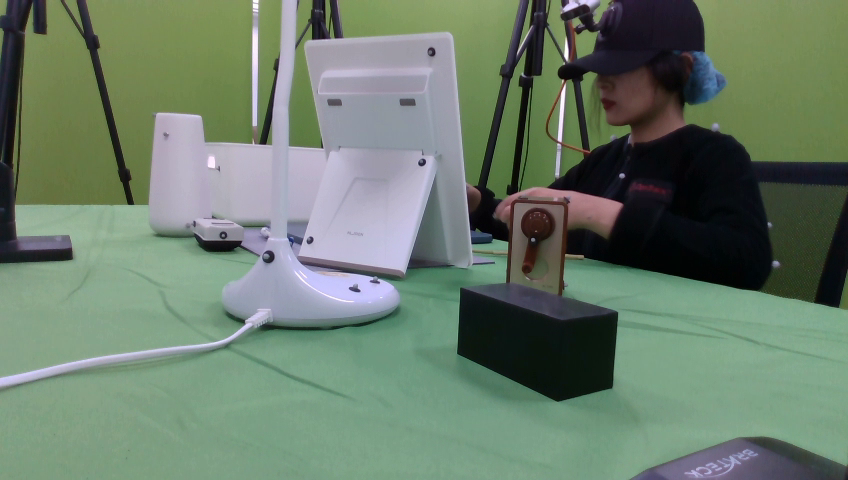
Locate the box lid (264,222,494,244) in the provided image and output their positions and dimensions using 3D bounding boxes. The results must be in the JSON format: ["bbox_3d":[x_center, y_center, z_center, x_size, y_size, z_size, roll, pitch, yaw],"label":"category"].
[{"bbox_3d":[-0.081,-0.014,1.117,0.373,0.015,0.262,-2,9,-32],"label":"box lid"}]

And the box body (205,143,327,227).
[{"bbox_3d":[-0.276,-0.122,1.320,0.366,0.160,0.253,-2,9,-30],"label":"box body"}]

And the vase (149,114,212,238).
[{"bbox_3d":[-0.405,-0.106,1.005,0.098,0.200,0.098,2,6,0],"label":"vase"}]

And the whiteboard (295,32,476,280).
[{"bbox_3d":[-0.076,-0.084,0.747,0.216,0.305,0.144,7,28,29],"label":"whiteboard"}]

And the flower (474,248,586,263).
[{"bbox_3d":[0.072,0.014,0.936,0.362,0.038,0.044,6,1,-2],"label":"flower"}]

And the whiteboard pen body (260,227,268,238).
[{"bbox_3d":[-0.239,-0.005,0.964,0.017,0.017,0.140,-2,9,-28],"label":"whiteboard pen body"}]

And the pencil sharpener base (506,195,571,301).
[{"bbox_3d":[0.126,0.007,0.662,0.061,0.107,0.077,4,8,13],"label":"pencil sharpener base"}]

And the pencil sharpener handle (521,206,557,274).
[{"bbox_3d":[0.112,0.000,0.611,0.036,0.067,0.031,13,10,11],"label":"pencil sharpener handle"}]

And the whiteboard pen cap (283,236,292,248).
[{"bbox_3d":[-0.211,0.003,0.913,0.018,0.018,0.033,-2,6,-28],"label":"whiteboard pen cap"}]

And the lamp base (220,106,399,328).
[{"bbox_3d":[-0.102,-0.023,0.531,0.160,0.180,0.179,4,10,10],"label":"lamp base"}]

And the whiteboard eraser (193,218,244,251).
[{"bbox_3d":[-0.307,-0.010,0.900,0.056,0.042,0.112,-4,10,-28],"label":"whiteboard eraser"}]

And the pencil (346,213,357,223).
[{"bbox_3d":[-0.161,-0.052,1.364,0.012,0.012,0.194,2,6,-2],"label":"pencil"}]
